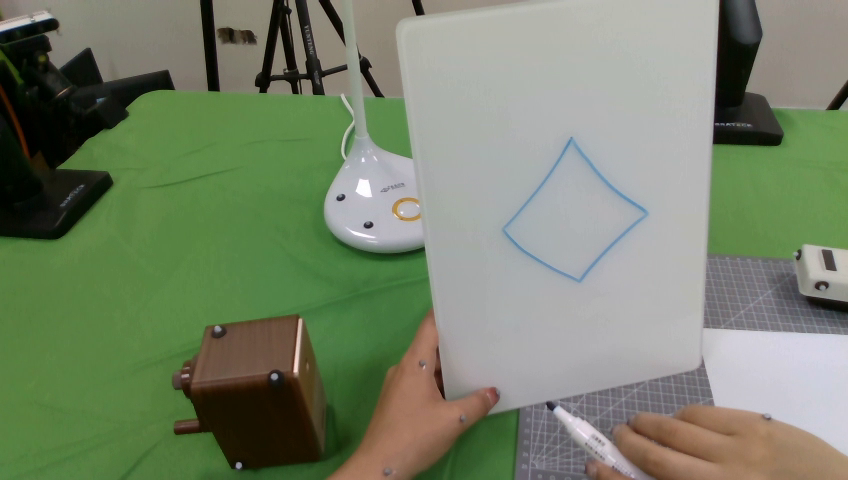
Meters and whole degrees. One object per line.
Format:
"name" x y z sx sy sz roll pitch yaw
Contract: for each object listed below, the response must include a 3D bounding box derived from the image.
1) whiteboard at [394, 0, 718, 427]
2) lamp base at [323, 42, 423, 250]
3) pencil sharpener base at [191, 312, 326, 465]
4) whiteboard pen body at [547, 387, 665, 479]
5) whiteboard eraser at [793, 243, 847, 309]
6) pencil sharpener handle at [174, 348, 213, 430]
"whiteboard" 0.096 -0.036 0.498 0.217 0.307 0.142 -10 21 -6
"lamp base" -0.047 -0.108 0.646 0.161 0.182 0.177 -29 44 -26
"pencil sharpener base" -0.120 0.113 0.450 0.077 0.108 0.060 -7 41 -2
"whiteboard pen body" 0.128 0.139 0.367 0.017 0.017 0.139 -34 64 -30
"whiteboard eraser" 0.396 0.037 0.542 0.112 0.042 0.055 10 43 16
"pencil sharpener handle" -0.171 0.111 0.437 0.030 0.068 0.035 -7 28 -2
